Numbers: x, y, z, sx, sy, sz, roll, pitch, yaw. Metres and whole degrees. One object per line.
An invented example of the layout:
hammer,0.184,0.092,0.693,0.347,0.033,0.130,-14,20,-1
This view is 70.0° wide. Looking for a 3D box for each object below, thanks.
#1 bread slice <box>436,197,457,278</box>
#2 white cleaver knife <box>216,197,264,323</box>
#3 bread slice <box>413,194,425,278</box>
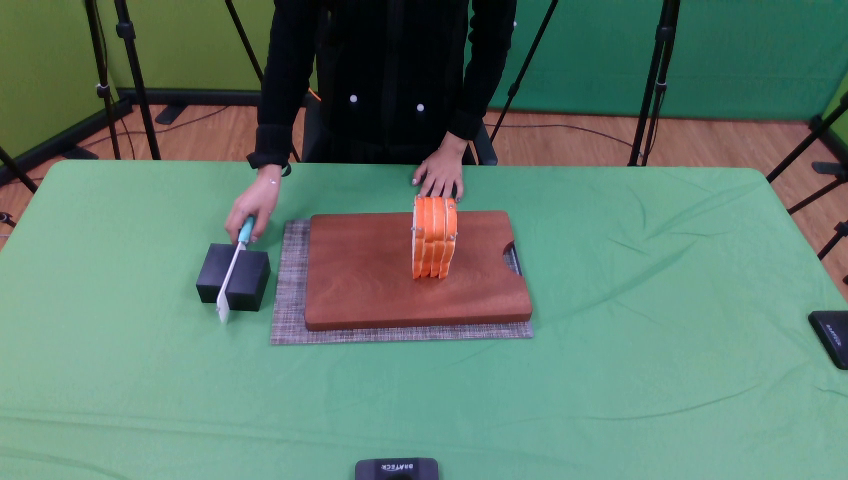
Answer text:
bread slice,0.040,-0.010,1.097,0.019,0.132,0.104,4,48,-7
white cleaver knife,-0.341,0.027,1.118,0.021,0.066,0.284,9,45,-3
bread slice,-0.010,-0.015,1.095,0.018,0.135,0.106,0,43,-3
